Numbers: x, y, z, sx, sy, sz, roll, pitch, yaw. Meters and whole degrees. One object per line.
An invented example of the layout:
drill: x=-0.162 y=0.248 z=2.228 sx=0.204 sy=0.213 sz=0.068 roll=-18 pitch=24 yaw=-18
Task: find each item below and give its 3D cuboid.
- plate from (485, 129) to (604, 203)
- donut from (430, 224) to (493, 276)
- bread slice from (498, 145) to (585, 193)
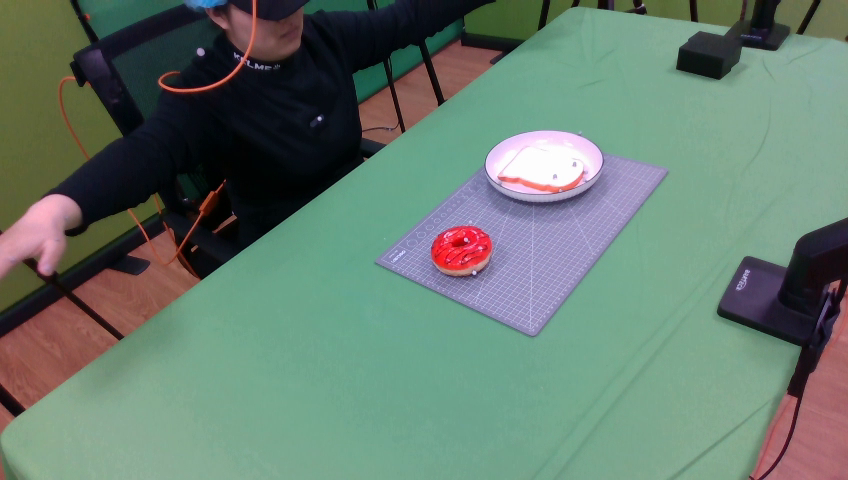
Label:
plate: x=0.213 y=-0.129 z=1.079 sx=0.209 sy=0.038 sz=0.208 roll=-5 pitch=40 yaw=5
donut: x=0.057 y=0.014 z=0.934 sx=0.099 sy=0.048 sz=0.098 roll=-7 pitch=40 yaw=6
bread slice: x=0.215 y=-0.125 z=1.076 sx=0.133 sy=0.018 sz=0.107 roll=16 pitch=48 yaw=28
